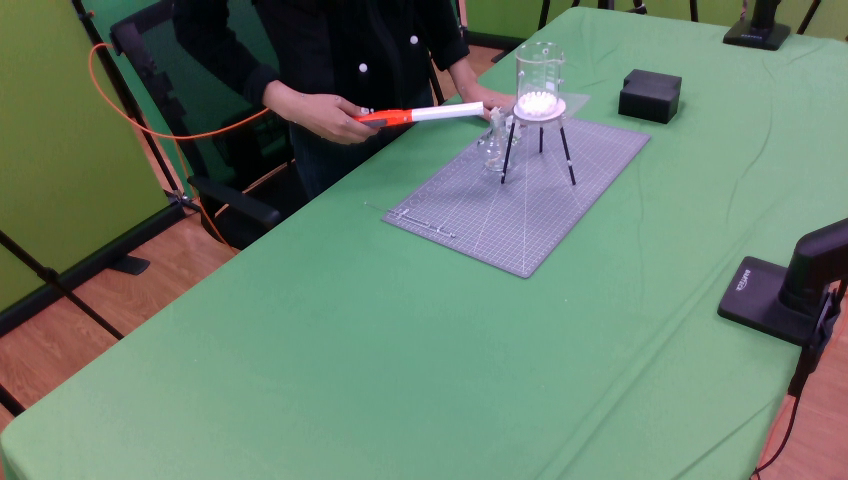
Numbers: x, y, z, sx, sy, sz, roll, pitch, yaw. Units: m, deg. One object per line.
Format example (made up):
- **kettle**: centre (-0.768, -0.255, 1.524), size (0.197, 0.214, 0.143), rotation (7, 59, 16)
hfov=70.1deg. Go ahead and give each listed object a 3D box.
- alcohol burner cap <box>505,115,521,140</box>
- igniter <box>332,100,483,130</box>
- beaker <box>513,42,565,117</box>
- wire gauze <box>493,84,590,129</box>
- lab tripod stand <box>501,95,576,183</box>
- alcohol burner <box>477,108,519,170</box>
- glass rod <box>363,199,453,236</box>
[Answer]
- **alcohol burner cap**: centre (0.175, -0.224, 1.193), size (0.034, 0.048, 0.033), rotation (-6, 40, 5)
- **igniter**: centre (-0.032, -0.224, 1.083), size (0.276, 0.025, 0.057), rotation (-5, 30, 7)
- **beaker**: centre (0.187, -0.257, 0.981), size (0.083, 0.101, 0.074), rotation (21, 49, 29)
- **wire gauze**: centre (0.197, -0.223, 1.013), size (0.120, 0.011, 0.125), rotation (21, 47, 28)
- **lab tripod stand**: centre (0.204, -0.174, 1.057), size (0.148, 0.132, 0.147), rotation (-4, 40, 4)
- **alcohol burner**: centre (0.135, -0.188, 1.102), size (0.078, 0.119, 0.077), rotation (-4, 41, 4)
- **glass rod**: centre (-0.031, -0.041, 1.041), size (0.198, 0.008, 0.008), rotation (22, 50, 31)
